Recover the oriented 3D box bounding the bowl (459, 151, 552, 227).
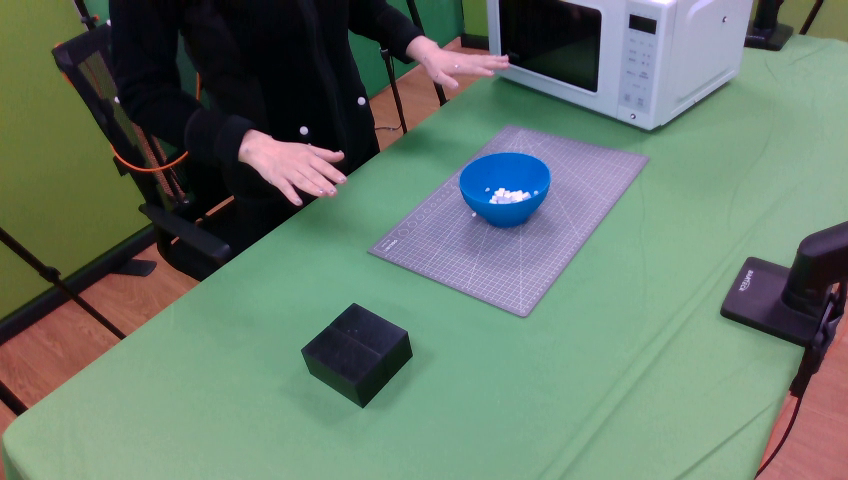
[{"bbox_3d":[0.136,-0.074,1.000,0.151,0.077,0.150,-5,40,5],"label":"bowl"}]

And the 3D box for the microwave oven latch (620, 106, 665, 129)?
[{"bbox_3d":[0.412,-0.236,1.146,0.030,0.029,0.078,-32,44,-24],"label":"microwave oven latch"}]

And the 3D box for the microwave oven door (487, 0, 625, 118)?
[{"bbox_3d":[0.262,-0.409,1.221,0.039,0.245,0.352,-33,45,-25],"label":"microwave oven door"}]

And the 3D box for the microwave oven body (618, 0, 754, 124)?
[{"bbox_3d":[0.402,-0.458,1.259,0.327,0.261,0.437,-33,45,-24],"label":"microwave oven body"}]
